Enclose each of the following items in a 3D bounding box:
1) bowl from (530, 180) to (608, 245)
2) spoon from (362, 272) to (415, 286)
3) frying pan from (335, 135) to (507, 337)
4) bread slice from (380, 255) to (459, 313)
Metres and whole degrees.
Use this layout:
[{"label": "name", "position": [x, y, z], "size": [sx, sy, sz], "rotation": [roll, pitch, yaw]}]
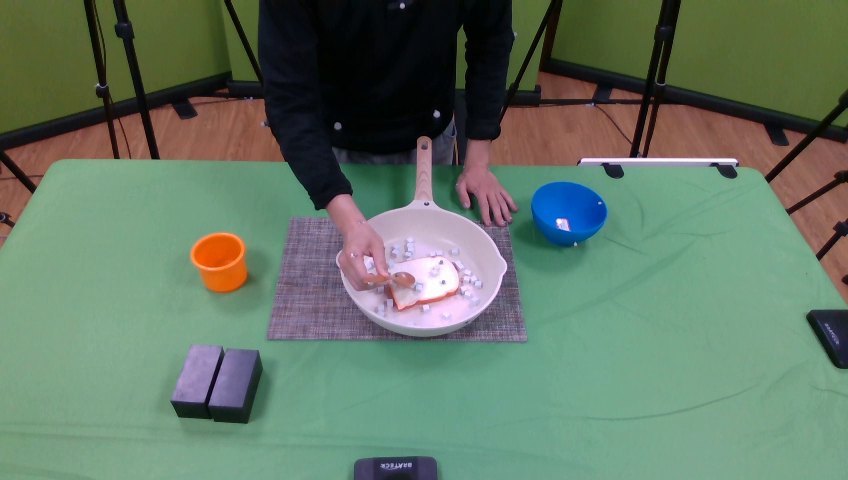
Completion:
[{"label": "bowl", "position": [0.284, -0.044, 1.222], "size": [0.151, 0.077, 0.150], "rotation": [2, 46, -2]}, {"label": "spoon", "position": [-0.060, 0.064, 1.005], "size": [0.041, 0.194, 0.021], "rotation": [30, 95, 18]}, {"label": "frying pan", "position": [-0.003, -0.026, 1.160], "size": [0.307, 0.103, 0.485], "rotation": [4, 55, -2]}, {"label": "bread slice", "position": [-0.005, 0.075, 1.119], "size": [0.134, 0.018, 0.106], "rotation": [-16, 50, -16]}]
